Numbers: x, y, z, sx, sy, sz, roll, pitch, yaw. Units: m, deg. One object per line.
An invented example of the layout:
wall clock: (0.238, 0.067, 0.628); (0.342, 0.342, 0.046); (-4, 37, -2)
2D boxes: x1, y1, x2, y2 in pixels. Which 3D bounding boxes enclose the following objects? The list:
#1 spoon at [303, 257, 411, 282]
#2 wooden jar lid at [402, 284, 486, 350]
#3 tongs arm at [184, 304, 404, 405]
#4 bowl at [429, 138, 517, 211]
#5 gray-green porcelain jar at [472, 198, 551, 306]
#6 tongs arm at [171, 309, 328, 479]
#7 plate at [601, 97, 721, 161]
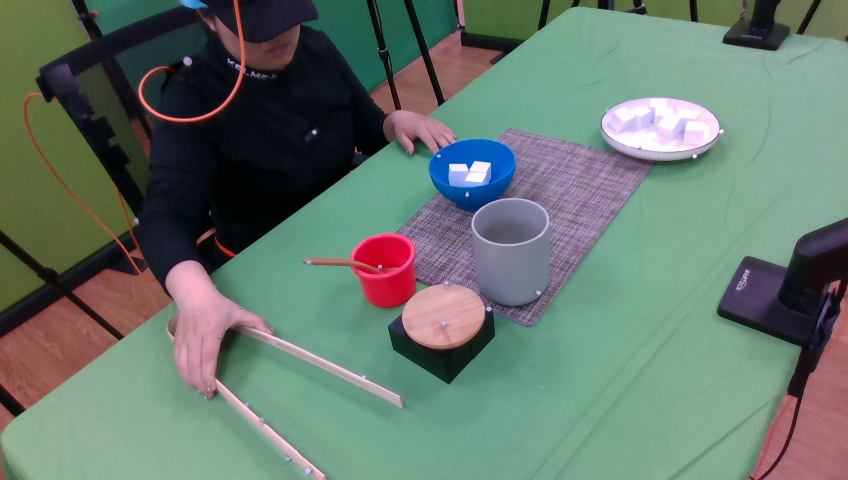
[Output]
spoon: (-0.092, 0.038, 0.865); (0.195, 0.021, 0.041); (16, 15, -46)
wooden jar lid: (0.026, 0.101, 0.786); (0.108, 0.021, 0.108); (-5, 39, 4)
tongs arm: (-0.191, 0.153, 0.835); (0.385, 0.028, 0.028); (16, 50, 28)
bowl: (0.087, -0.104, 1.043); (0.151, 0.077, 0.150); (-5, 40, 5)
gray-green porcelain jar: (0.125, 0.021, 0.850); (0.106, 0.127, 0.105); (-6, 40, 5)
tongs arm: (-0.236, 0.191, 0.795); (0.381, 0.026, 0.051); (24, 51, 35)
plate: (0.436, -0.202, 1.126); (0.209, 0.038, 0.208); (-5, 39, 5)
